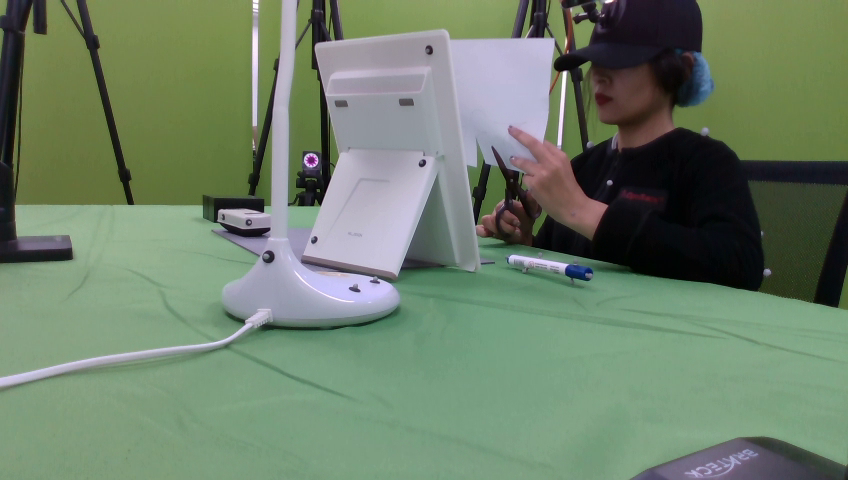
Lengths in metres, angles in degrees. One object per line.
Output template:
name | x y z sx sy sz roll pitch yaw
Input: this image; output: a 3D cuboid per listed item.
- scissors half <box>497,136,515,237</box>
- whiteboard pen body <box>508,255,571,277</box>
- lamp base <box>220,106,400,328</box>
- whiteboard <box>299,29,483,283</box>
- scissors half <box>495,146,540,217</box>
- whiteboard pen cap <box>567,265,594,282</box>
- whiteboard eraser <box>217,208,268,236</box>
scissors half | 0.139 -0.086 1.007 0.040 0.175 0.013 -19 28 -39
whiteboard pen body | 0.155 0.034 0.772 0.017 0.017 0.140 -2 7 -31
lamp base | -0.101 -0.023 0.531 0.160 0.180 0.179 4 10 10
whiteboard | -0.074 -0.082 0.742 0.216 0.305 0.144 9 29 38
scissors half | 0.157 -0.100 1.017 0.012 0.040 0.176 26 -14 46
whiteboard pen cap | 0.185 0.040 0.722 0.018 0.018 0.033 -3 7 -33
whiteboard eraser | -0.309 -0.031 1.044 0.056 0.042 0.112 -2 9 -40
